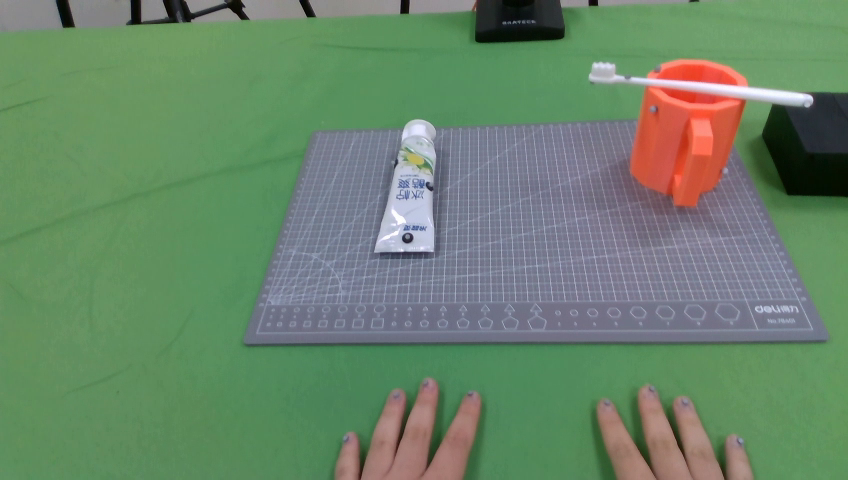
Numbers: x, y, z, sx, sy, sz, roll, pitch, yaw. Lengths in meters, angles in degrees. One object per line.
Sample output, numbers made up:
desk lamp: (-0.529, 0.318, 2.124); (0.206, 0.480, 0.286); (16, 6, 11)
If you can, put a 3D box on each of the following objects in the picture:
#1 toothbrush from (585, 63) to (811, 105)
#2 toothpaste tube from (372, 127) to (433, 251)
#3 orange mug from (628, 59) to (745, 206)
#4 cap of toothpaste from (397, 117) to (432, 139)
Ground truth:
toothbrush: (0.231, -0.134, 0.521); (0.181, 0.017, 0.014); (13, 40, 18)
toothpaste tube: (-0.017, -0.054, 0.590); (0.055, 0.035, 0.163); (-4, 49, 8)
orange mug: (0.238, -0.094, 0.554); (0.083, 0.102, 0.125); (5, 41, 11)
cap of toothpaste: (-0.010, -0.113, 0.639); (0.037, 0.038, 0.011); (1, 52, 7)
